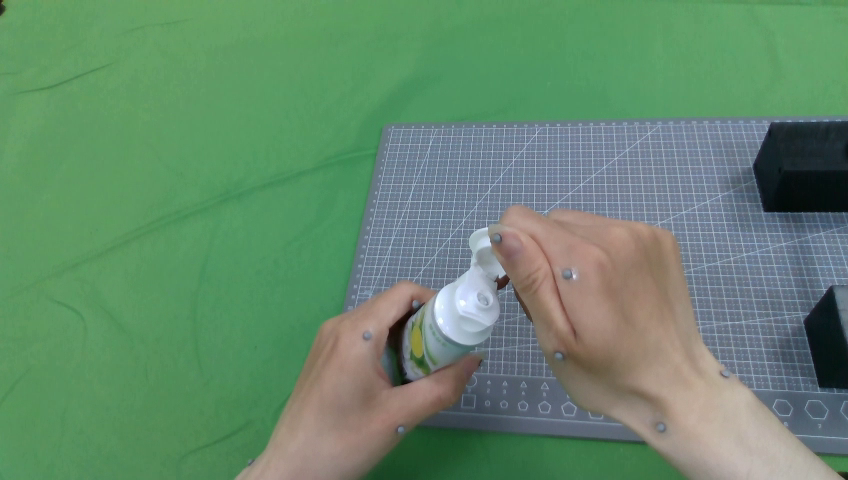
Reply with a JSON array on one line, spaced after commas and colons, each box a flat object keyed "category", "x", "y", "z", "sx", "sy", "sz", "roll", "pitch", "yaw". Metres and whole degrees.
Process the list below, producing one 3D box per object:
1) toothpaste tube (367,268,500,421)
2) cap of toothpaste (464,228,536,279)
[{"category": "toothpaste tube", "x": -0.003, "y": 0.062, "z": 0.363, "sx": 0.035, "sy": 0.165, "sz": 0.054, "roll": 3, "pitch": 60, "yaw": -26}, {"category": "cap of toothpaste", "x": 0.037, "y": 0.008, "z": 0.300, "sx": 0.037, "sy": 0.038, "sz": 0.011, "roll": 6, "pitch": 57, "yaw": 14}]
